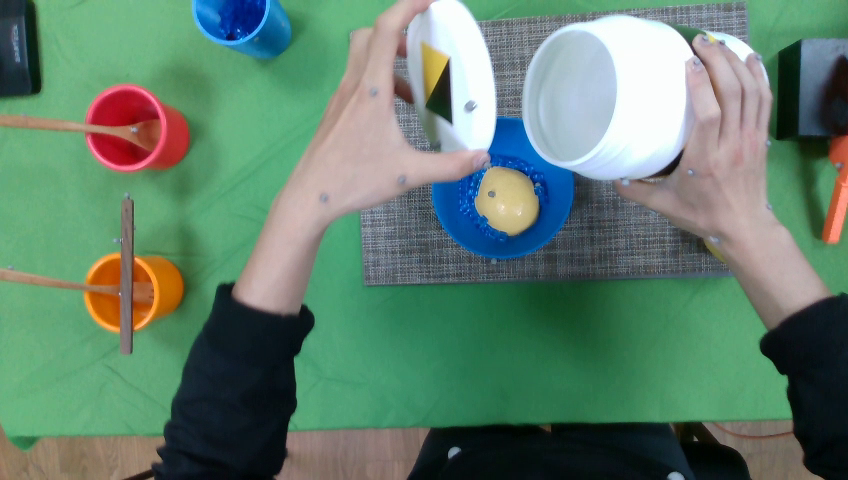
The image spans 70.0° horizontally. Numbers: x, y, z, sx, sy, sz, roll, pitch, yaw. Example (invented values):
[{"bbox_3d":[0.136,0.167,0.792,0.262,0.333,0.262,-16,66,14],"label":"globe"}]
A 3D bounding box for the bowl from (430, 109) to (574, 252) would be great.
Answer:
[{"bbox_3d":[0.084,-0.064,0.669,0.151,0.077,0.151,0,94,5],"label":"bowl"}]

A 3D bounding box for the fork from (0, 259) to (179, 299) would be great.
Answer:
[{"bbox_3d":[-0.383,0.042,0.683,0.209,0.018,0.028,14,105,-40],"label":"fork"}]

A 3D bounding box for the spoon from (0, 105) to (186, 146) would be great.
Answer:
[{"bbox_3d":[-0.368,-0.134,0.674,0.195,0.021,0.041,1,96,-38],"label":"spoon"}]

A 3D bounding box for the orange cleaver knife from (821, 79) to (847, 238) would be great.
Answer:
[{"bbox_3d":[0.446,-0.104,0.638,0.012,0.076,0.213,1,122,10],"label":"orange cleaver knife"}]

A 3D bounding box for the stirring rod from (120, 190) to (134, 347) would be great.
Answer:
[{"bbox_3d":[-0.332,0.032,0.676,0.014,0.006,0.176,3,94,3],"label":"stirring rod"}]

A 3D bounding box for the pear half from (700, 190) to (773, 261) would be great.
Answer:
[{"bbox_3d":[0.328,-0.012,0.637,0.056,0.110,0.076,-21,87,6],"label":"pear half"}]

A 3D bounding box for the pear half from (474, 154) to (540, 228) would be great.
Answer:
[{"bbox_3d":[0.089,-0.057,0.663,0.070,0.031,0.088,-29,87,3],"label":"pear half"}]

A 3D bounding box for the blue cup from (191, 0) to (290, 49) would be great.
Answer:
[{"bbox_3d":[-0.194,-0.255,0.673,0.092,0.100,0.092,0,93,7],"label":"blue cup"}]

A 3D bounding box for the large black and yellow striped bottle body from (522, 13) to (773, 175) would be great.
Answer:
[{"bbox_3d":[0.190,-0.122,0.523,0.185,0.130,0.131,-5,93,-30],"label":"large black and yellow striped bottle body"}]

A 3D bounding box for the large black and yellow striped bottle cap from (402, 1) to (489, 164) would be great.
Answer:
[{"bbox_3d":[0.013,-0.112,0.442,0.019,0.114,0.115,-18,91,-17],"label":"large black and yellow striped bottle cap"}]
